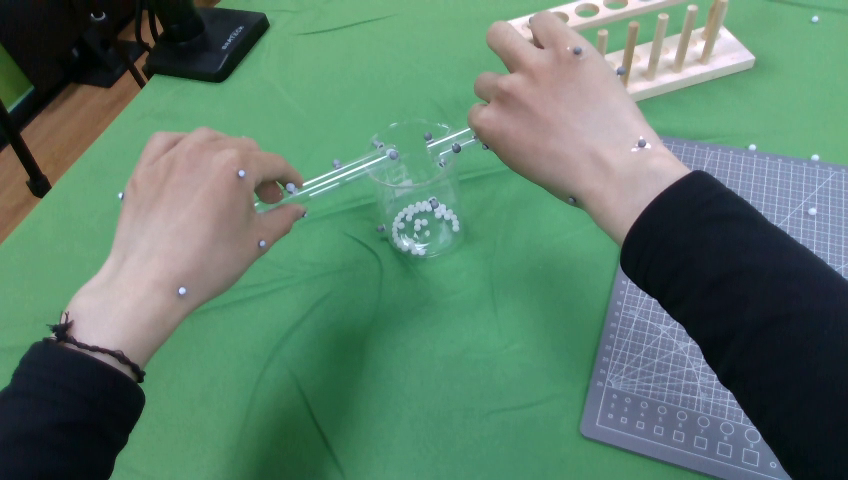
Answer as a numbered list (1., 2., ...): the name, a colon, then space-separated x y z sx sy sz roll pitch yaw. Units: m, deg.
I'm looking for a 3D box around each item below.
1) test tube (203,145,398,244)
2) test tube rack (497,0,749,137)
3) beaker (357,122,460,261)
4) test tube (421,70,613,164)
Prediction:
1. test tube: -0.087 -0.034 0.438 0.150 0.017 0.017 -26 54 -12
2. test tube rack: 0.197 -0.185 0.589 0.242 0.086 0.066 -17 53 -4
3. beaker: -0.006 -0.037 0.502 0.084 0.101 0.073 -39 58 -20
4. test tube: 0.069 -0.091 0.448 0.150 0.017 0.017 -23 53 2
